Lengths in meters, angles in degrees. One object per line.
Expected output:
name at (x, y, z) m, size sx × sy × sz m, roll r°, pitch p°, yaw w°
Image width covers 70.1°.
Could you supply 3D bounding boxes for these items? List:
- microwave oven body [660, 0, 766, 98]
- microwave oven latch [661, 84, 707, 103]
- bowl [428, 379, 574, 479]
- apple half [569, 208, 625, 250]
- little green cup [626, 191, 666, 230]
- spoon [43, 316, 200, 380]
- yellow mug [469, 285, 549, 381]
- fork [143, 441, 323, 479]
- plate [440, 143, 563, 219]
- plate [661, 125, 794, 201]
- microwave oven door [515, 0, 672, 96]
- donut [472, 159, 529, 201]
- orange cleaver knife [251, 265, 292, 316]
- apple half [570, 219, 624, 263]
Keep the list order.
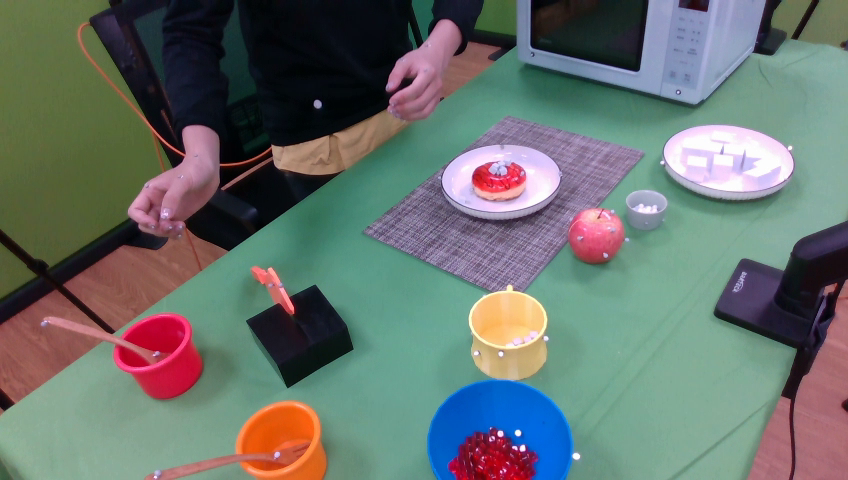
microwave oven body at (0.472, -0.513, 1.317) m, size 0.438 × 0.261 × 0.327 m, roll 26°, pitch 51°, yaw 34°
microwave oven latch at (0.517, -0.296, 1.204) m, size 0.078 × 0.029 × 0.030 m, roll 27°, pitch 52°, yaw 35°
bowl at (0.082, 0.233, 0.644) m, size 0.151 × 0.077 × 0.150 m, roll -4°, pitch 39°, yaw 4°
apple half at (0.262, -0.014, 0.913) m, size 0.080 × 0.075 × 0.053 m, roll 5°, pitch 37°, yaw 20°
little green cup at (0.352, -0.046, 0.963) m, size 0.061 × 0.039 × 0.061 m, roll -4°, pitch 40°, yaw 4°
spoon at (-0.385, 0.136, 0.778) m, size 0.195 × 0.021 × 0.041 m, roll 31°, pitch 35°, yaw -24°
yellow mug at (0.112, 0.112, 0.792) m, size 0.100 × 0.064 × 0.130 m, roll 0°, pitch 40°, yaw 9°
fork at (-0.189, 0.231, 0.631) m, size 0.028 × 0.018 × 0.209 m, roll 35°, pitch 13°, yaw 37°
plate at (0.134, -0.098, 1.052) m, size 0.209 × 0.038 × 0.208 m, roll -4°, pitch 40°, yaw 4°
plate at (0.513, -0.128, 1.035) m, size 0.207 × 0.039 × 0.206 m, roll -4°, pitch 40°, yaw 4°
microwave oven door at (0.344, -0.455, 1.259) m, size 0.353 × 0.245 × 0.039 m, roll 26°, pitch 51°, yaw 33°
donut at (0.132, -0.105, 1.043) m, size 0.099 × 0.048 × 0.098 m, roll -5°, pitch 37°, yaw 4°
orange cleaver knife at (-0.221, 0.070, 0.873) m, size 0.012 × 0.077 × 0.210 m, roll -25°, pitch 11°, yaw -21°
apple half at (0.250, 0.010, 0.885) m, size 0.081 × 0.081 × 0.033 m, roll 7°, pitch 39°, yaw 17°
